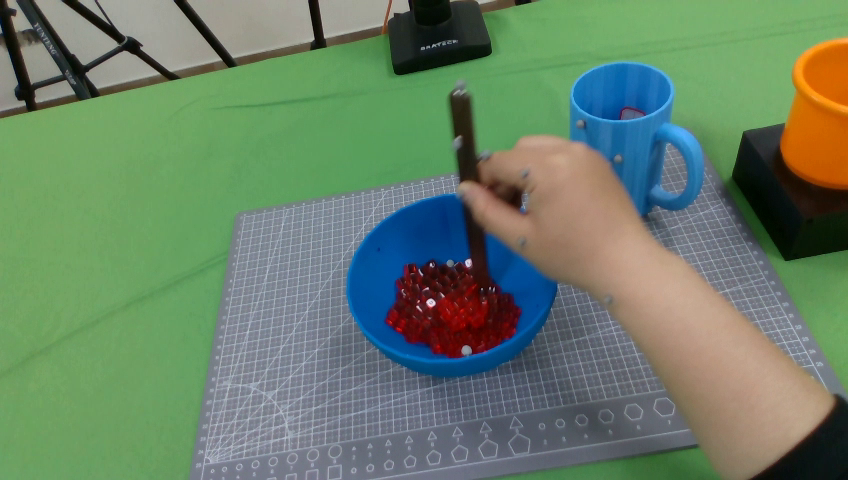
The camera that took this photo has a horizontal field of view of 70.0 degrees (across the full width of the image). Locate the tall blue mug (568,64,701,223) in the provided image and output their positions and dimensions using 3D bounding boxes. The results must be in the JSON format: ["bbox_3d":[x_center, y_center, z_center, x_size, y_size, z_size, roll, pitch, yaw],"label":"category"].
[{"bbox_3d":[0.172,-0.074,0.495,0.106,0.109,0.077,11,52,22],"label":"tall blue mug"}]

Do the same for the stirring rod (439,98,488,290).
[{"bbox_3d":[0.028,-0.020,0.396,0.014,0.178,0.006,10,53,19],"label":"stirring rod"}]

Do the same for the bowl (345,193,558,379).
[{"bbox_3d":[0.024,0.045,0.447,0.151,0.077,0.150,-6,48,8],"label":"bowl"}]
